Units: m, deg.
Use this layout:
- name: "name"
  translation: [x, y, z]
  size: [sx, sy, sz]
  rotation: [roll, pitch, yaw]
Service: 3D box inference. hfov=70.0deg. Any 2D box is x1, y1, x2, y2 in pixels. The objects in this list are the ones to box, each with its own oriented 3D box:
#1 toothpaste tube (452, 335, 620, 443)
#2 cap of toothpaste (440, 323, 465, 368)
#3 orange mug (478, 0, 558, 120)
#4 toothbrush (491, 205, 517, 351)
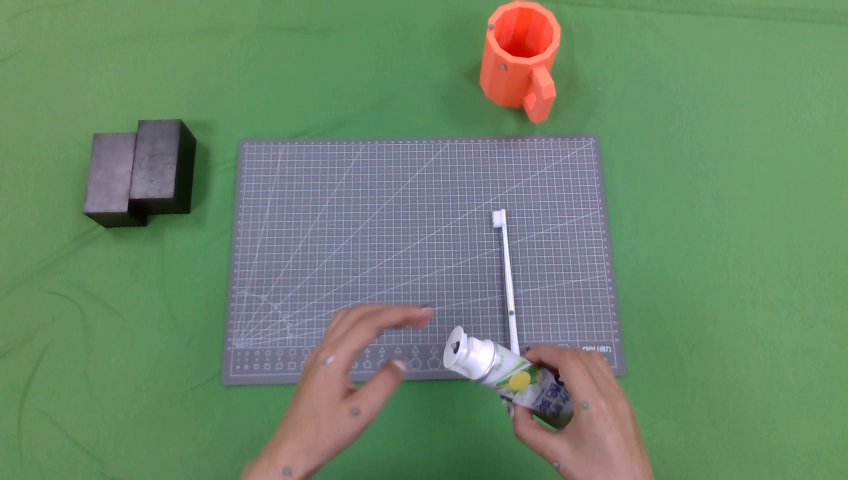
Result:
- name: "toothpaste tube"
  translation: [0.091, 0.123, 0.507]
  size: [0.166, 0.034, 0.055]
  rotation: [29, 103, -20]
- name: "cap of toothpaste"
  translation: [0.024, 0.084, 0.479]
  size: [0.011, 0.037, 0.037]
  rotation: [18, 73, -11]
- name: "orange mug"
  translation: [0.119, -0.214, 0.740]
  size: [0.083, 0.101, 0.125]
  rotation: [-22, 70, -7]
- name: "toothbrush"
  translation: [0.093, 0.045, 0.703]
  size: [0.016, 0.014, 0.180]
  rotation: [-5, 73, 3]
